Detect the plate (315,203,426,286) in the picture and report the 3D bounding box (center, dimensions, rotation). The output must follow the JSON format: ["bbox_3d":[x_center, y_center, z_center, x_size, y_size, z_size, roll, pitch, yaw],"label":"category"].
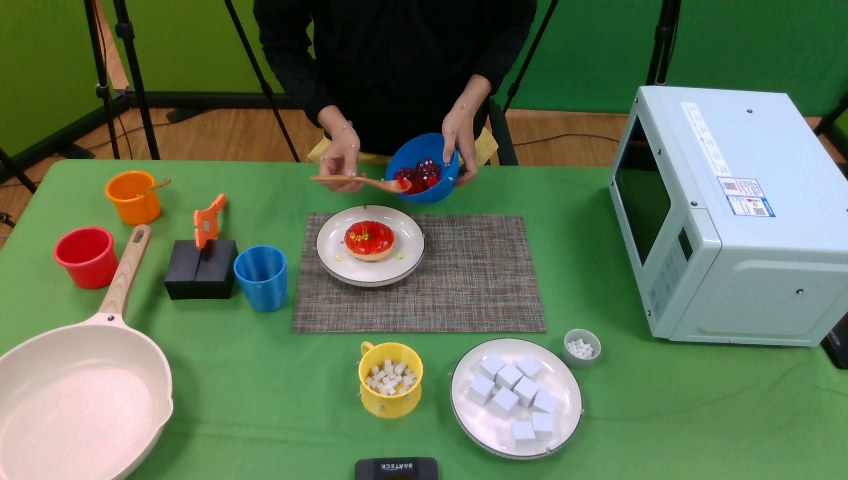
[{"bbox_3d":[-0.101,0.012,1.159,0.209,0.038,0.208,2,46,-2],"label":"plate"}]

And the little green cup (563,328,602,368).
[{"bbox_3d":[0.265,0.184,1.025,0.061,0.039,0.061,2,46,-1],"label":"little green cup"}]

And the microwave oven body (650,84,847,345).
[{"bbox_3d":[0.569,-0.054,1.115,0.326,0.261,0.439,2,46,-1],"label":"microwave oven body"}]

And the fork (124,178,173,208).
[{"bbox_3d":[-0.525,-0.090,1.153,0.207,0.019,0.028,-18,27,45],"label":"fork"}]

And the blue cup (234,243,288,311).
[{"bbox_3d":[-0.276,0.072,1.052,0.093,0.101,0.092,1,48,-1],"label":"blue cup"}]

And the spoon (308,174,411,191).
[{"bbox_3d":[-0.112,-0.107,1.074,0.194,0.022,0.041,5,34,-30],"label":"spoon"}]

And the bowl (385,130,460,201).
[{"bbox_3d":[0.010,-0.127,1.161,0.151,0.077,0.150,-16,52,21],"label":"bowl"}]

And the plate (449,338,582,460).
[{"bbox_3d":[0.141,0.251,0.955,0.208,0.039,0.206,2,46,-2],"label":"plate"}]

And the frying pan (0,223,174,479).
[{"bbox_3d":[-0.505,0.169,0.941,0.307,0.103,0.485,5,54,-1],"label":"frying pan"}]

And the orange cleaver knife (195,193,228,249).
[{"bbox_3d":[-0.406,-0.041,1.163,0.012,0.077,0.210,0,18,-3],"label":"orange cleaver knife"}]

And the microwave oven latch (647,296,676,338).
[{"bbox_3d":[0.413,0.133,1.060,0.030,0.029,0.078,4,46,1],"label":"microwave oven latch"}]

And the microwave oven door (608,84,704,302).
[{"bbox_3d":[0.424,-0.096,1.138,0.039,0.245,0.353,2,46,-1],"label":"microwave oven door"}]

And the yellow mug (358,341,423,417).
[{"bbox_3d":[-0.062,0.210,0.961,0.100,0.064,0.130,-29,54,-27],"label":"yellow mug"}]

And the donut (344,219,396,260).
[{"bbox_3d":[-0.103,-0.002,1.157,0.099,0.048,0.098,3,43,-2],"label":"donut"}]
